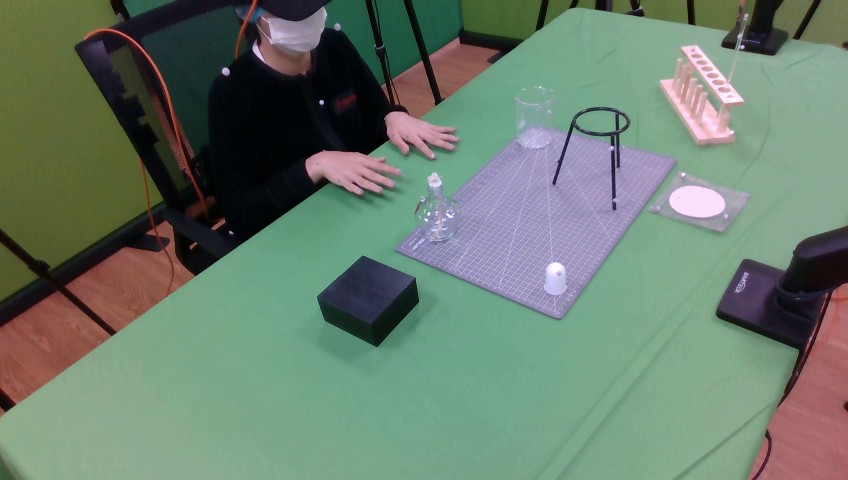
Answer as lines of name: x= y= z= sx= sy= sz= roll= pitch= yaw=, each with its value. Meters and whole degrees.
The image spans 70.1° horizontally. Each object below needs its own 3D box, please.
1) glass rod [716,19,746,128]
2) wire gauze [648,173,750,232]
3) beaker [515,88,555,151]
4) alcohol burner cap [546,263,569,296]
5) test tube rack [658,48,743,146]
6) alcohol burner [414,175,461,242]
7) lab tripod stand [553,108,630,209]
glass rod: x=0.549 y=-0.294 z=1.085 sx=0.008 sy=0.200 sz=0.008 roll=-1 pitch=33 yaw=1
wire gauze: x=0.451 y=-0.062 z=0.990 sx=0.120 sy=0.011 sz=0.125 roll=26 pitch=49 yaw=32
beaker: x=0.213 y=-0.230 z=1.152 sx=0.073 sy=0.101 sz=0.084 roll=20 pitch=47 yaw=29
alcohol burner cap: x=0.191 y=0.053 z=0.862 sx=0.034 sy=0.048 sz=0.033 roll=-5 pitch=40 yaw=4
test tube rack: x=0.532 y=-0.284 z=1.181 sx=0.067 sy=0.085 sz=0.241 roll=-5 pitch=40 yaw=4
alcohol burner: x=0.021 y=-0.055 z=0.963 sx=0.078 sy=0.119 sz=0.077 roll=-3 pitch=41 yaw=4
lab tripod stand: x=0.292 y=-0.144 z=1.010 sx=0.148 sy=0.132 sz=0.147 roll=-5 pitch=38 yaw=4
